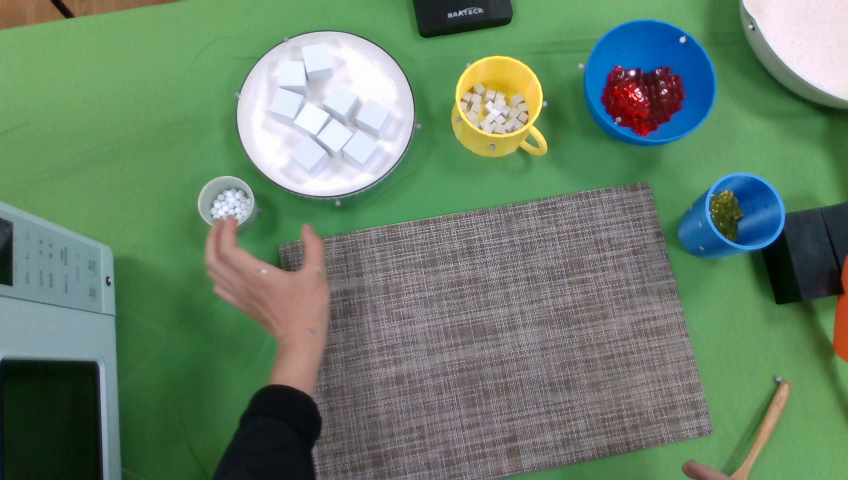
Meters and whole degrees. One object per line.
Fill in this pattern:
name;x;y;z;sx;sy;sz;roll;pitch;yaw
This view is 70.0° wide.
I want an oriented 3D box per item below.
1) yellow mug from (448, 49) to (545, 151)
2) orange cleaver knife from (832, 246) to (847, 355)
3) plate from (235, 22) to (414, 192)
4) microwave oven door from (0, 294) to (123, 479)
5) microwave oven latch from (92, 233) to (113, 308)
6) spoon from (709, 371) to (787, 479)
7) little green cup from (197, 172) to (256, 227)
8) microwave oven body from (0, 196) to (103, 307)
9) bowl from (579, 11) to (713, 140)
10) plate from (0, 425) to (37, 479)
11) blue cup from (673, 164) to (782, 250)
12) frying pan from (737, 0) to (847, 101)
yellow mug;0.092;-0.153;0.713;0.130;0.064;0.100;42;81;5
orange cleaver knife;0.482;0.110;0.672;0.012;0.076;0.212;-11;109;-4
plate;-0.115;-0.155;0.720;0.208;0.039;0.207;0;80;-2
microwave oven door;-0.329;0.229;0.521;0.039;0.244;0.354;-7;80;-3
microwave oven latch;-0.358;0.034;0.658;0.030;0.029;0.079;-6;81;-4
spoon;0.363;0.230;0.676;0.041;0.022;0.193;32;80;16
little green cup;-0.224;-0.044;0.695;0.061;0.039;0.061;0;81;-1
microwave oven body;-0.480;0.206;0.525;0.326;0.261;0.440;-7;81;-4
bowl;0.250;-0.182;0.718;0.151;0.077;0.151;0;80;-2
plate;-0.464;0.261;0.568;0.209;0.038;0.208;1;81;-3
blue cup;0.330;-0.028;0.681;0.093;0.100;0.092;1;78;-3
frying pan;0.533;-0.205;0.718;0.307;0.103;0.484;-5;72;-2
